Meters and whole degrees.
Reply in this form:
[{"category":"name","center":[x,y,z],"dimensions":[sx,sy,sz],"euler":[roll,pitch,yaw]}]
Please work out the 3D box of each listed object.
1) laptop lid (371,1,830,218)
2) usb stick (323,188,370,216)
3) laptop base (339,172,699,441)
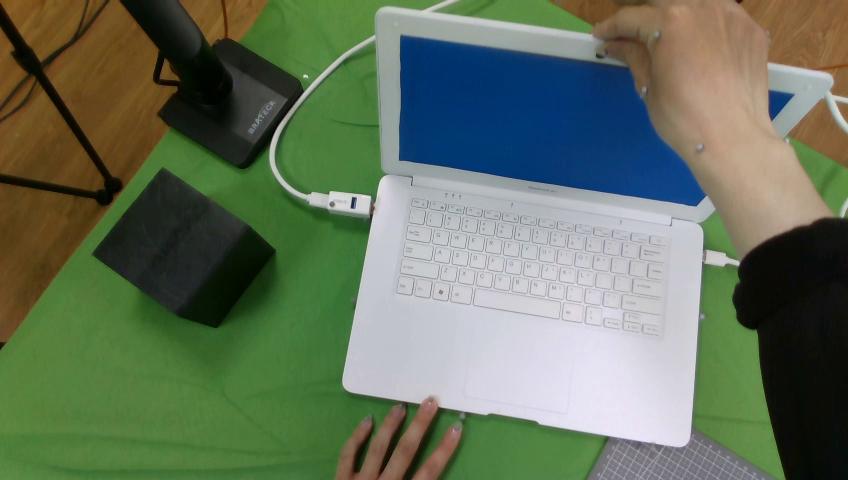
[{"category":"laptop lid","center":[0.128,-0.102,0.554],"dimensions":[0.357,0.243,0.013],"euler":[8,63,2]},{"category":"usb stick","center":[-0.075,-0.039,0.642],"dimensions":[0.059,0.027,0.021],"euler":[8,80,-5]},{"category":"laptop base","center":[0.104,0.064,0.635],"dimensions":[0.354,0.023,0.234],"euler":[9,80,1]}]
